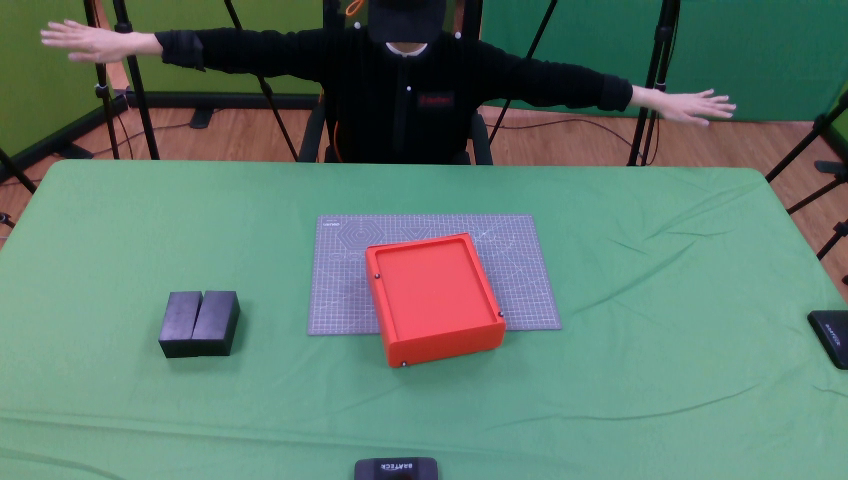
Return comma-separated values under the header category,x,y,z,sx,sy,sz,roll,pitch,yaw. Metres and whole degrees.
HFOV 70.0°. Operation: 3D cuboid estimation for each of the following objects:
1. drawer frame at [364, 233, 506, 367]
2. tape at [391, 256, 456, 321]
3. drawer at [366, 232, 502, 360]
category,x,y,z,sx,sy,sz,roll,pitch,yaw
drawer frame,0.013,0.098,1.058,0.202,0.083,0.212,-9,48,-12
tape,0.000,0.086,1.075,0.117,0.053,0.116,2,44,-2
drawer,0.011,0.093,1.064,0.195,0.073,0.210,-8,48,-12
